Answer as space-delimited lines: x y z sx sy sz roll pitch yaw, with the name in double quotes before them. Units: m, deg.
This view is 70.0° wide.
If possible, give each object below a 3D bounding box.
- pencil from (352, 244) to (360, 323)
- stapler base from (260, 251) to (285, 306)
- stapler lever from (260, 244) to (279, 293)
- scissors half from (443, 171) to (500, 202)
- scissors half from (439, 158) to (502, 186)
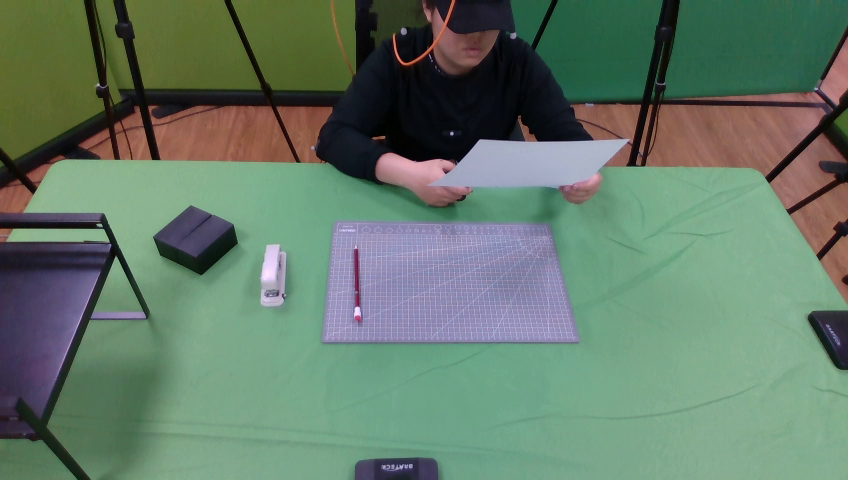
"pencil" -0.127 0.075 1.119 0.012 0.012 0.192 -3 44 -7
"stapler base" -0.279 0.064 1.113 0.041 0.024 0.129 -2 44 -9
"stapler lever" -0.278 0.045 1.096 0.027 0.040 0.117 -2 44 -9
"scissors half" 0.096 -0.111 1.227 0.013 0.175 0.040 -25 92 -36
"scissors half" 0.092 -0.133 1.221 0.013 0.040 0.174 -20 32 -37
